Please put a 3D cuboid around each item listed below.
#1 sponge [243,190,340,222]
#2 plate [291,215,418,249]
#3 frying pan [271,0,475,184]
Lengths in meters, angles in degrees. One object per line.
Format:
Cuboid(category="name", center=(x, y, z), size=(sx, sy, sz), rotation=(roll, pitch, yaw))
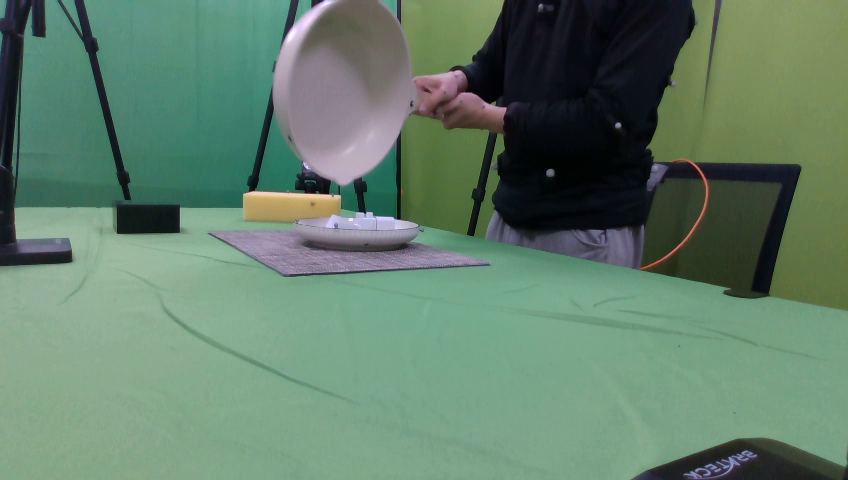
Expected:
Cuboid(category="sponge", center=(-0.298, -0.077, 1.388), size=(0.207, 0.061, 0.118), rotation=(2, 8, -8))
Cuboid(category="plate", center=(-0.115, -0.013, 1.001), size=(0.208, 0.039, 0.207), rotation=(2, 7, 0))
Cuboid(category="frying pan", center=(-0.064, -0.254, 1.055), size=(0.102, 0.306, 0.491), rotation=(22, 18, 39))
